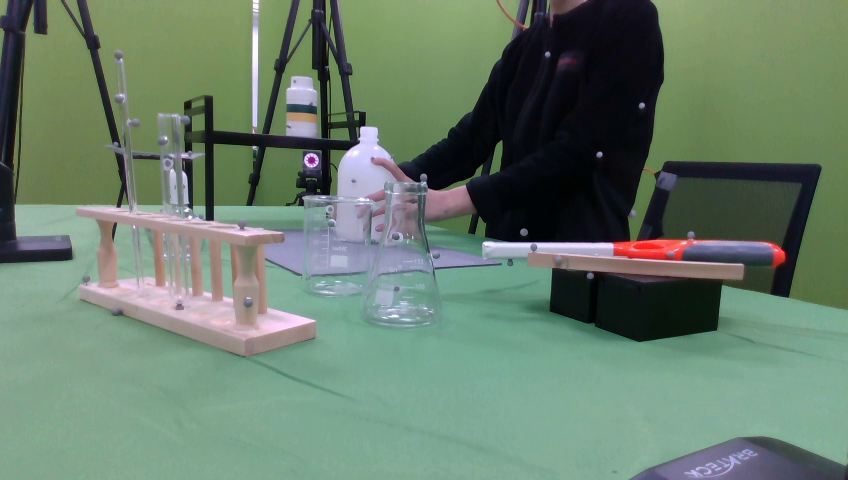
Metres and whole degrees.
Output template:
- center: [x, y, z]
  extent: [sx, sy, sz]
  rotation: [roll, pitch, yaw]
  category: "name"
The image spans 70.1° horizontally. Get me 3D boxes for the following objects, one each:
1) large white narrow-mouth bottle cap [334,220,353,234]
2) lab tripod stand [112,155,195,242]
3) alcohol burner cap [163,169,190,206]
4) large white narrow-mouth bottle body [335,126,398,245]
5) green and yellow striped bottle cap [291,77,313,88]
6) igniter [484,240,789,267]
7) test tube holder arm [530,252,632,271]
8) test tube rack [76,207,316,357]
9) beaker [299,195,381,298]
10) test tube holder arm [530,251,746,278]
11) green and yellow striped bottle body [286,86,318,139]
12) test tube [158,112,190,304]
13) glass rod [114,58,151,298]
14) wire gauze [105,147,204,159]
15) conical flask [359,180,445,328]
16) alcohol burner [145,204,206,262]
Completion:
- center: [-0.150, -0.024, 1.133]
  extent: [0.038, 0.024, 0.037]
  rotation: [4, 7, 0]
  category: "large white narrow-mouth bottle cap"
- center: [-0.405, -0.064, 0.931]
  extent: [0.148, 0.131, 0.148]
  rotation: [1, 7, 0]
  category: "lab tripod stand"
- center: [-0.320, -0.067, 0.782]
  extent: [0.034, 0.048, 0.034]
  rotation: [1, 7, 0]
  category: "alcohol burner cap"
- center: [-0.096, -0.094, 1.023]
  extent: [0.102, 0.194, 0.102]
  rotation: [4, 7, 0]
  category: "large white narrow-mouth bottle body"
- center: [-0.250, -0.321, 1.238]
  extent: [0.045, 0.020, 0.045]
  rotation: [3, 6, 0]
  category: "green and yellow striped bottle cap"
- center: [0.197, 0.012, 0.585]
  extent: [0.276, 0.025, 0.057]
  rotation: [1, 5, 11]
  category: "igniter"
- center: [0.139, 0.019, 0.538]
  extent: [0.087, 0.015, 0.010]
  rotation: [3, 6, 13]
  category: "test tube holder arm"
- center: [-0.196, 0.023, 0.500]
  extent: [0.241, 0.085, 0.067]
  rotation: [8, 9, 36]
  category: "test tube rack"
- center: [-0.087, 0.006, 0.626]
  extent: [0.084, 0.100, 0.074]
  rotation: [1, 8, -17]
  category: "beaker"
- center: [0.182, 0.022, 0.523]
  extent: [0.178, 0.015, 0.013]
  rotation: [3, 6, 12]
  category: "test tube holder arm"
- center: [-0.251, -0.270, 1.245]
  extent: [0.063, 0.119, 0.063]
  rotation: [2, 7, 0]
  category: "green and yellow striped bottle body"
- center: [-0.194, -0.022, 0.469]
  extent: [0.017, 0.150, 0.017]
  rotation: [2, 12, 0]
  category: "test tube"
- center: [-0.236, -0.044, 0.492]
  extent: [0.008, 0.199, 0.008]
  rotation: [0, 15, 0]
  category: "glass rod"
- center: [-0.407, -0.131, 0.928]
  extent: [0.125, 0.011, 0.121]
  rotation: [2, 6, -11]
  category: "wire gauze"
- center: [-0.017, 0.010, 0.522]
  extent: [0.075, 0.122, 0.075]
  rotation: [2, 7, 0]
  category: "conical flask"
- center: [-0.321, -0.032, 0.788]
  extent: [0.078, 0.119, 0.078]
  rotation: [1, 7, 0]
  category: "alcohol burner"
